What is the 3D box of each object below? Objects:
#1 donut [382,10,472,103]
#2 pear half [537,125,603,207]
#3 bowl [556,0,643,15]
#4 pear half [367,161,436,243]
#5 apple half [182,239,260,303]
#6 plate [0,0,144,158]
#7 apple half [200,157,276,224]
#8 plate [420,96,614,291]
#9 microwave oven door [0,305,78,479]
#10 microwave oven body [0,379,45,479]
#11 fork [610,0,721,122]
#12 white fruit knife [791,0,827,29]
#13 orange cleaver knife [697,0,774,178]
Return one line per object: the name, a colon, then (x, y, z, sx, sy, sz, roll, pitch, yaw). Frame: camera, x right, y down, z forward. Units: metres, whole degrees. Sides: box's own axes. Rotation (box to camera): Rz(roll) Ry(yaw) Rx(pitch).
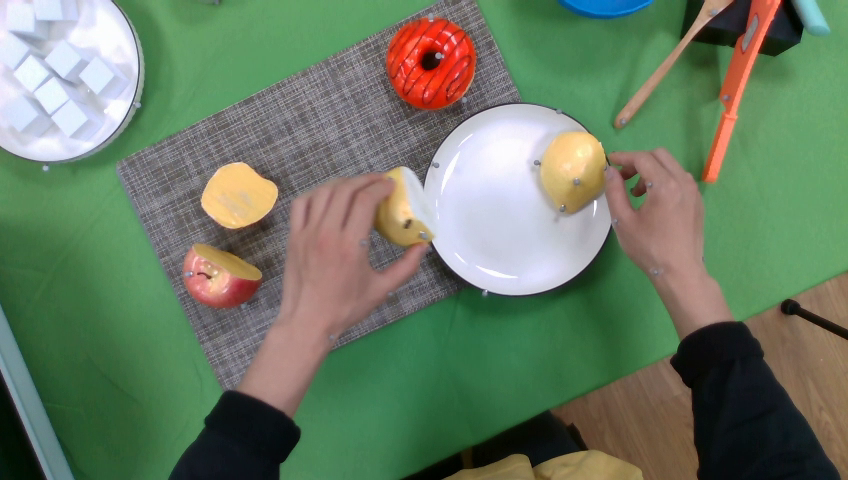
donut: (0.003, -0.198, 0.656, 0.099, 0.048, 0.099, 0, 93, 6)
pear half: (0.151, -0.077, 0.642, 0.070, 0.031, 0.088, 12, 104, 26)
bowl: (0.180, -0.302, 0.631, 0.151, 0.077, 0.151, 0, 93, 3)
pear half: (-0.025, -0.027, 0.555, 0.056, 0.109, 0.076, -31, 101, 9)
apple half: (-0.225, 0.040, 0.661, 0.081, 0.074, 0.053, 29, 97, -2)
plate: (-0.413, -0.195, 0.683, 0.207, 0.039, 0.207, 0, 92, 3)
apple half: (-0.206, -0.048, 0.674, 0.081, 0.033, 0.080, 3, 69, -6)
plate: (0.099, -0.049, 0.660, 0.209, 0.038, 0.209, 0, 92, 2)
microwave oven door: (-0.454, 0.205, 0.580, 0.039, 0.244, 0.355, -23, 90, 3)
microwave oven body: (-0.604, 0.222, 0.593, 0.326, 0.260, 0.441, -23, 91, 3)
fork: (0.262, -0.208, 0.626, 0.028, 0.018, 0.208, 32, 113, -6)
white fruit knife: (0.350, -0.304, 0.604, 0.027, 0.016, 0.207, -24, 89, -26)
orange cleaver knife: (0.319, -0.170, 0.627, 0.012, 0.077, 0.212, 11, 118, 8)
